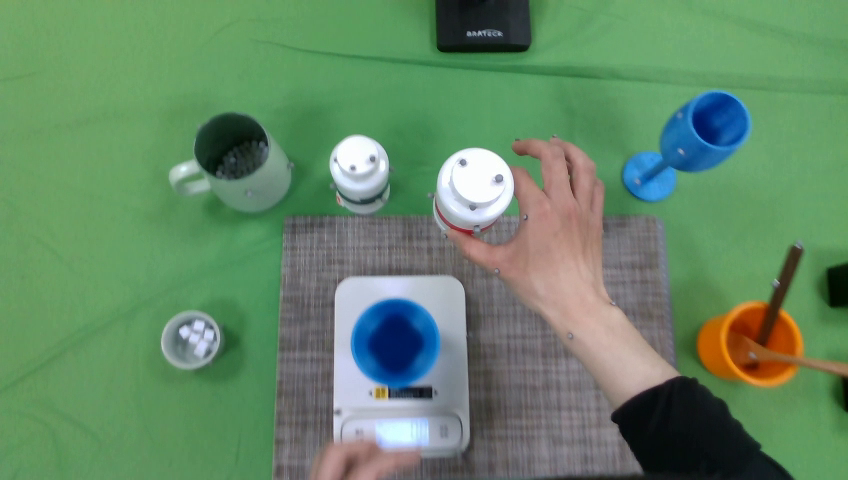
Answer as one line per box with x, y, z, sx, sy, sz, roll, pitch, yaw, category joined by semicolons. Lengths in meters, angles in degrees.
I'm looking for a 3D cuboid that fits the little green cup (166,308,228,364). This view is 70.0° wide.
-0.248;0.107;0.669;0.061;0.039;0.061;1;78;-4;little green cup

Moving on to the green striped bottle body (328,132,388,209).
-0.072;-0.080;0.676;0.063;0.119;0.063;1;77;-2;green striped bottle body

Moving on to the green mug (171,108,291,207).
-0.217;-0.084;0.677;0.125;0.105;0.092;-22;80;-7;green mug

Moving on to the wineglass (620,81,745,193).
0.279;-0.108;0.672;0.074;0.173;0.073;0;78;-2;wineglass

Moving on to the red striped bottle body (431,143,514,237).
0.040;-0.042;0.516;0.063;0.120;0.063;0;81;-2;red striped bottle body

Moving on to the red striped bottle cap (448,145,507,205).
0.041;-0.050;0.463;0.044;0.018;0.044;0;82;-3;red striped bottle cap

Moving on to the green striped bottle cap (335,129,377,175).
-0.070;-0.091;0.625;0.044;0.020;0.044;1;76;-3;green striped bottle cap

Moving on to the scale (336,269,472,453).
-0.023;0.132;0.676;0.149;0.031;0.200;-1;79;-3;scale

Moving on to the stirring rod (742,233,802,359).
0.373;0.066;0.655;0.014;0.178;0.006;5;37;11;stirring rod

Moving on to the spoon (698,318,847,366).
0.393;0.117;0.645;0.022;0.192;0.041;18;83;-43;spoon

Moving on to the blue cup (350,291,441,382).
-0.028;0.098;0.616;0.093;0.100;0.092;1;81;-3;blue cup
